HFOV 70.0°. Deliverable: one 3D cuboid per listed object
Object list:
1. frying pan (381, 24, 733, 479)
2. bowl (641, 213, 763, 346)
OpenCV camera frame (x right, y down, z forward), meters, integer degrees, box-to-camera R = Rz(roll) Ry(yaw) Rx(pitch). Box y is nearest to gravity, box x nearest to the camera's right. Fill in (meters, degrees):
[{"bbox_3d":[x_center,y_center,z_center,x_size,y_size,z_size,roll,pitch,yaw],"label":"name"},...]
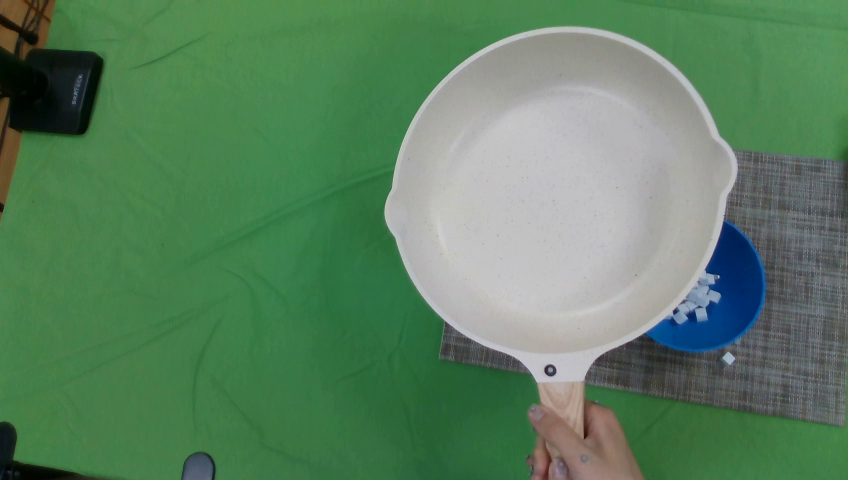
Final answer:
[{"bbox_3d":[0.113,0.057,0.534,0.306,0.103,0.485,-6,76,22],"label":"frying pan"},{"bbox_3d":[0.281,0.043,0.670,0.151,0.077,0.150,-1,79,7],"label":"bowl"}]
